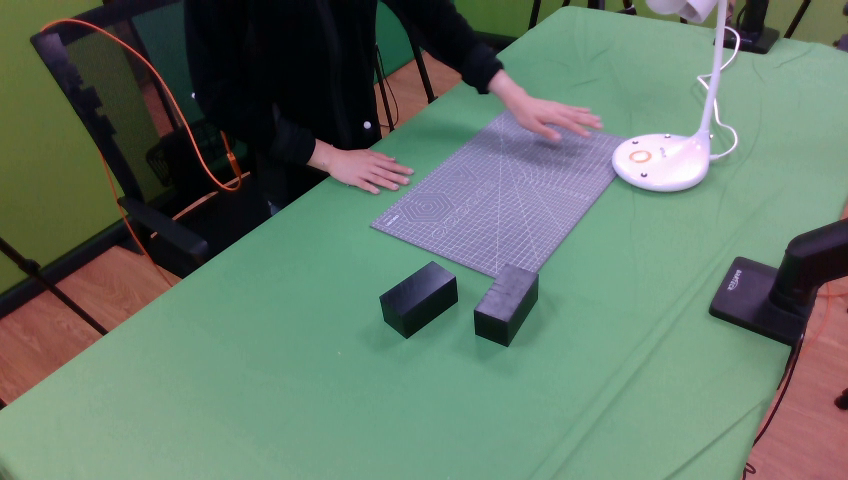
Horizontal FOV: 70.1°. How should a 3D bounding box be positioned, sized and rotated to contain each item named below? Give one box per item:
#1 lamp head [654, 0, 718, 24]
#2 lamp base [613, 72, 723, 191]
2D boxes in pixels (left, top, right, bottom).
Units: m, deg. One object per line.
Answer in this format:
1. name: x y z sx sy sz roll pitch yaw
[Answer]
1. lamp head: 0.356 -0.361 0.788 0.123 0.113 0.111 -51 42 13
2. lamp base: 0.423 -0.198 1.020 0.179 0.181 0.159 -6 42 -3
